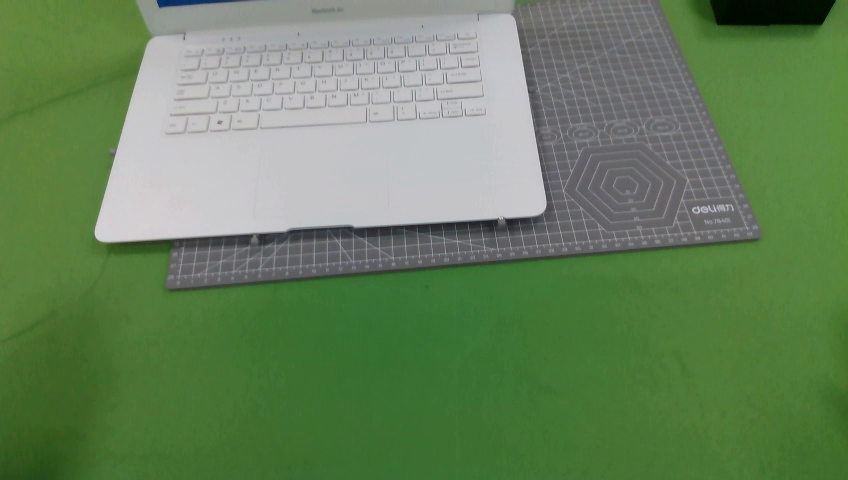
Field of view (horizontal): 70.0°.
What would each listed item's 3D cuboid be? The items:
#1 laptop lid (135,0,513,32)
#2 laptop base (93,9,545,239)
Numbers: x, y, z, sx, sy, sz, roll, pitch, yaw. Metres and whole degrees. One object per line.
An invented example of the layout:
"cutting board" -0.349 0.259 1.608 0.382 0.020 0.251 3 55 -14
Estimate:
"laptop lid" -0.096 -0.286 0.501 0.357 0.244 0.013 -4 48 1
"laptop base" -0.086 -0.107 0.528 0.354 0.023 0.233 -3 61 0
